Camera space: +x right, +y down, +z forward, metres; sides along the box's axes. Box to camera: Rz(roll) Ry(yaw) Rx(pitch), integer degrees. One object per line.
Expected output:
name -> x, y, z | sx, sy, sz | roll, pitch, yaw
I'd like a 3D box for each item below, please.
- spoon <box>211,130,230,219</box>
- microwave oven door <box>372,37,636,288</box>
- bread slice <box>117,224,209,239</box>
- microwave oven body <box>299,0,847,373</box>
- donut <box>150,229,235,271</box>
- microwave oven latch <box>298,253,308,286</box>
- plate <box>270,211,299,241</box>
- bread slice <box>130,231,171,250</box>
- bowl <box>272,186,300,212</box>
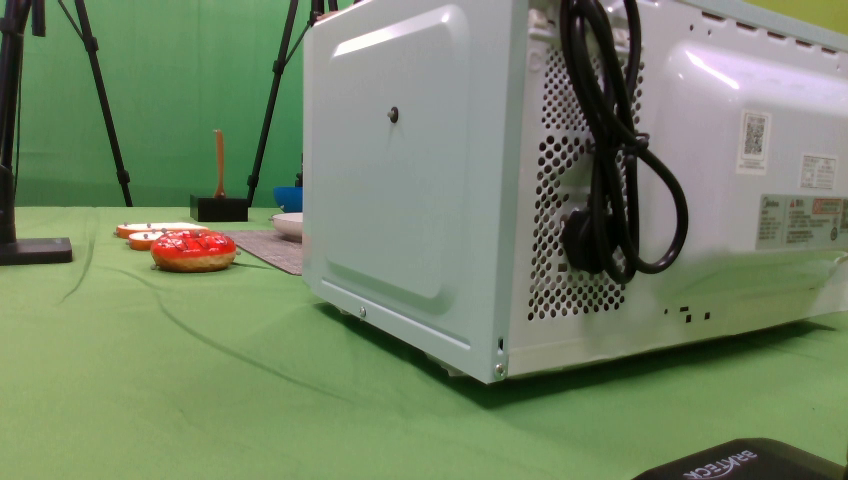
spoon -> -0.436, -0.138, 1.296 | 0.042, 0.193, 0.021 | -4, 23, -28
microwave oven door -> 0.110, -0.080, 0.686 | 0.358, 0.243, 0.039 | -2, 9, -33
bread slice -> -0.443, -0.015, 1.022 | 0.132, 0.019, 0.104 | -4, 8, -45
microwave oven body -> 0.152, -0.055, 0.542 | 0.444, 0.260, 0.324 | -2, 7, -33
donut -> -0.285, 0.013, 0.747 | 0.099, 0.048, 0.099 | 3, 9, 0
microwave oven latch -> -0.081, 0.027, 0.582 | 0.079, 0.029, 0.030 | -1, 7, -32
plate -> -0.162, -0.022, 1.058 | 0.208, 0.039, 0.207 | 2, 7, 0
bread slice -> -0.370, 0.001, 0.916 | 0.135, 0.018, 0.106 | -1, 7, -32
bowl -> -0.254, -0.076, 1.318 | 0.151, 0.077, 0.151 | 2, 7, 0
